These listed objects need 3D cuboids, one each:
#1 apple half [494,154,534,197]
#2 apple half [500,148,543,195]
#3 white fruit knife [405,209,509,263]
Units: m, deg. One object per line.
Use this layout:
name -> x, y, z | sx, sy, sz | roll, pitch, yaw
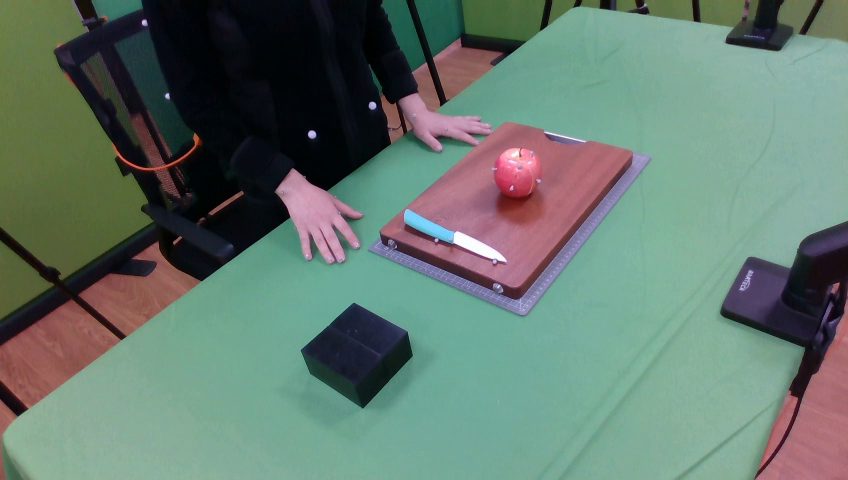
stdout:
apple half -> 0.140, -0.098, 0.989 | 0.080, 0.081, 0.033 | 27, 50, 35
apple half -> 0.166, -0.118, 1.010 | 0.080, 0.075, 0.053 | 23, 46, 38
white fruit knife -> 0.046, -0.005, 0.944 | 0.205, 0.016, 0.027 | 24, 63, 32
